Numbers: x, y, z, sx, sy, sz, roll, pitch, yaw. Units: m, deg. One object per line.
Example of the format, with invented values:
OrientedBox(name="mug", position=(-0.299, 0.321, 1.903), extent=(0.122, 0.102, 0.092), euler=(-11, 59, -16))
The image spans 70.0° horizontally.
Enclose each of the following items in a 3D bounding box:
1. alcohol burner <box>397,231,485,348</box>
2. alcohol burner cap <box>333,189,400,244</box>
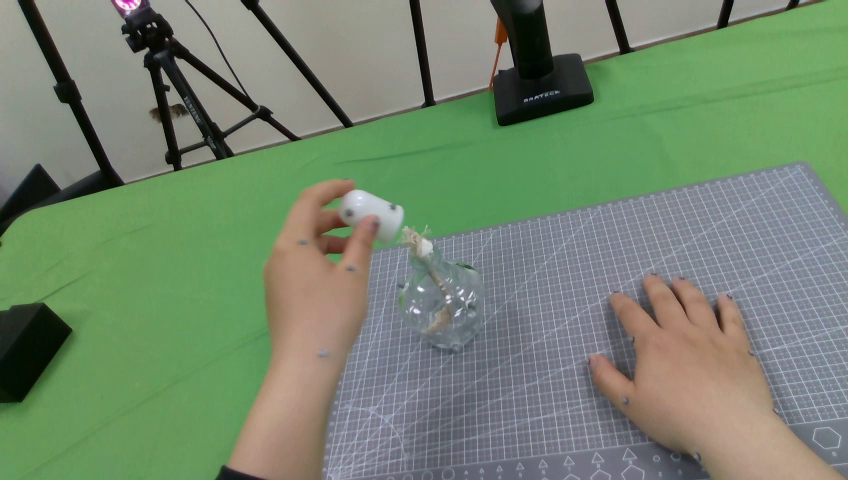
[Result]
OrientedBox(name="alcohol burner", position=(0.010, 0.036, 0.510), extent=(0.078, 0.120, 0.077), euler=(-11, 42, 11))
OrientedBox(name="alcohol burner cap", position=(-0.044, -0.021, 0.453), extent=(0.034, 0.048, 0.033), euler=(-40, 37, 40))
